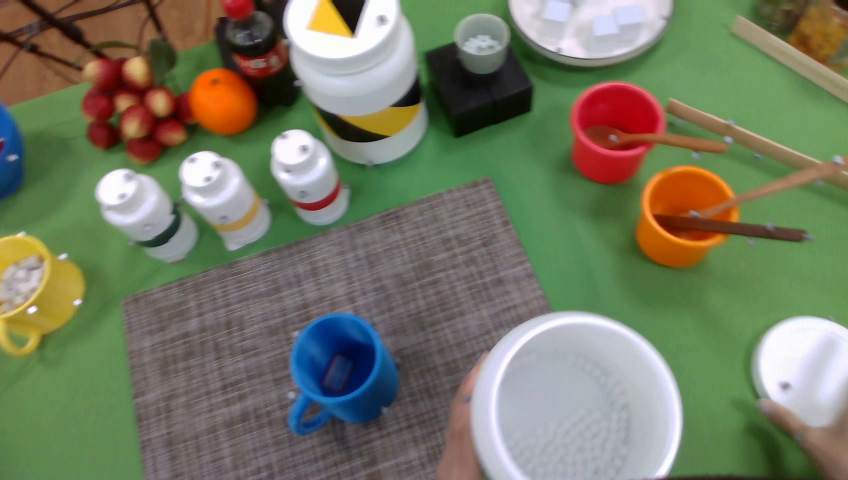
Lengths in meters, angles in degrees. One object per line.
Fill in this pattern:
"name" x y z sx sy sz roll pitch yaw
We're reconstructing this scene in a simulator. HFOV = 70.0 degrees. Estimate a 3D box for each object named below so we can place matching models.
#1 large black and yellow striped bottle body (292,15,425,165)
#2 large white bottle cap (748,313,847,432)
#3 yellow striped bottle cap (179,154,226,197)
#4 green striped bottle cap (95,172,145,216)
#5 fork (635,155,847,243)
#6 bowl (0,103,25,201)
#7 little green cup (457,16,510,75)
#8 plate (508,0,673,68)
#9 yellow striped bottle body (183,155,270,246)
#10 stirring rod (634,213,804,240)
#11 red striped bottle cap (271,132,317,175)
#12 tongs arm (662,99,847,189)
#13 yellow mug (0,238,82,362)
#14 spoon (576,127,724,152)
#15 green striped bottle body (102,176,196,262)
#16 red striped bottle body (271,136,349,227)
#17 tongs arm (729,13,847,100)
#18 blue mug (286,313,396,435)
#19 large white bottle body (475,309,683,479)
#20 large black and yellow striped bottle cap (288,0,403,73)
"large black and yellow striped bottle body" -0.071 -0.184 0.684 0.130 0.185 0.129 -2 65 5
"large white bottle cap" 0.378 0.127 0.589 0.115 0.018 0.114 -2 65 5
"yellow striped bottle cap" -0.227 -0.067 0.622 0.044 0.019 0.044 -1 60 1
"green striped bottle cap" -0.312 -0.048 0.622 0.044 0.020 0.044 -2 64 3
"fork" 0.305 -0.038 0.599 0.207 0.019 0.028 -28 52 43
"bowl" -0.558 -0.095 0.749 0.151 0.077 0.150 -2 65 4
"little green cup" 0.069 -0.227 0.714 0.061 0.039 0.061 -1 62 3
"plate" 0.213 -0.304 0.791 0.209 0.038 0.207 -2 66 5
"yellow striped bottle body" -0.221 -0.046 0.670 0.063 0.121 0.062 -3 64 6
"stirring rod" 0.281 -0.015 0.597 0.014 0.006 0.175 -45 27 -20
"red striped bottle cap" -0.134 -0.090 0.624 0.044 0.018 0.044 -1 63 1
"tongs arm" 0.456 -0.086 0.670 0.382 0.027 0.050 29 67 17
"yellow mug" -0.446 0.069 0.670 0.100 0.064 0.129 -10 65 1
"spoon" 0.231 -0.105 0.641 0.041 0.192 0.022 -37 112 -14
"green striped bottle body" -0.306 -0.026 0.670 0.063 0.120 0.062 -2 65 4
"red striped bottle body" -0.128 -0.068 0.671 0.063 0.121 0.062 -3 64 7
"tongs arm" 0.514 -0.150 0.698 0.028 0.028 0.384 -36 67 -19
"blue mug" -0.085 0.137 0.577 0.082 0.107 0.116 35 74 20
"large white bottle body" 0.103 0.122 0.432 0.130 0.186 0.130 -2 72 6
"large black and yellow striped bottle cap" -0.079 -0.219 0.605 0.115 0.019 0.114 -3 67 7
